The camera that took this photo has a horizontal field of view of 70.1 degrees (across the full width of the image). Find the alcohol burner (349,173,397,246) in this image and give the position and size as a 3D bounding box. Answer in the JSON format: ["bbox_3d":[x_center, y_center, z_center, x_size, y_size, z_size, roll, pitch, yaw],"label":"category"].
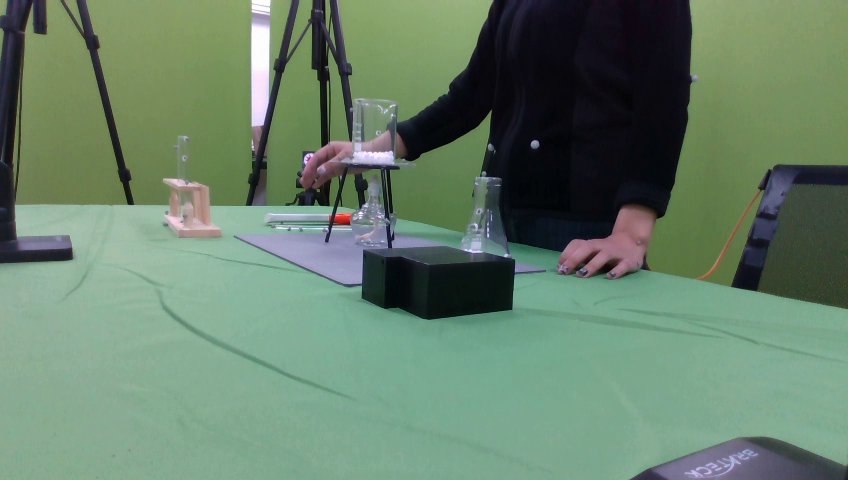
[{"bbox_3d":[-0.081,-0.050,0.982,0.078,0.119,0.078,4,8,0],"label":"alcohol burner"}]

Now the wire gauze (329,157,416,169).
[{"bbox_3d":[-0.079,-0.125,0.972,0.121,0.011,0.125,6,6,5],"label":"wire gauze"}]

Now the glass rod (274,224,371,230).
[{"bbox_3d":[-0.193,-0.024,1.176,0.201,0.008,0.008,1,6,-31],"label":"glass rod"}]

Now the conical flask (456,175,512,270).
[{"bbox_3d":[0.082,-0.025,0.801,0.075,0.122,0.075,2,7,0],"label":"conical flask"}]

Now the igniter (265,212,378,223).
[{"bbox_3d":[-0.195,-0.048,1.285,0.278,0.025,0.057,-2,-2,-30],"label":"igniter"}]

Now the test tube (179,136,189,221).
[{"bbox_3d":[-0.425,-0.108,1.070,0.017,0.150,0.017,4,9,0],"label":"test tube"}]

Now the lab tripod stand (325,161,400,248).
[{"bbox_3d":[-0.083,-0.059,0.977,0.148,0.131,0.148,4,8,0],"label":"lab tripod stand"}]

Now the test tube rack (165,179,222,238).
[{"bbox_3d":[-0.423,-0.062,1.098,0.067,0.085,0.241,-2,9,-28],"label":"test tube rack"}]

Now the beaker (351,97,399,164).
[{"bbox_3d":[-0.078,-0.172,0.963,0.074,0.100,0.084,6,8,18],"label":"beaker"}]

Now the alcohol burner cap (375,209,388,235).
[{"bbox_3d":[-0.076,-0.035,1.145,0.034,0.048,0.034,1,7,0],"label":"alcohol burner cap"}]
